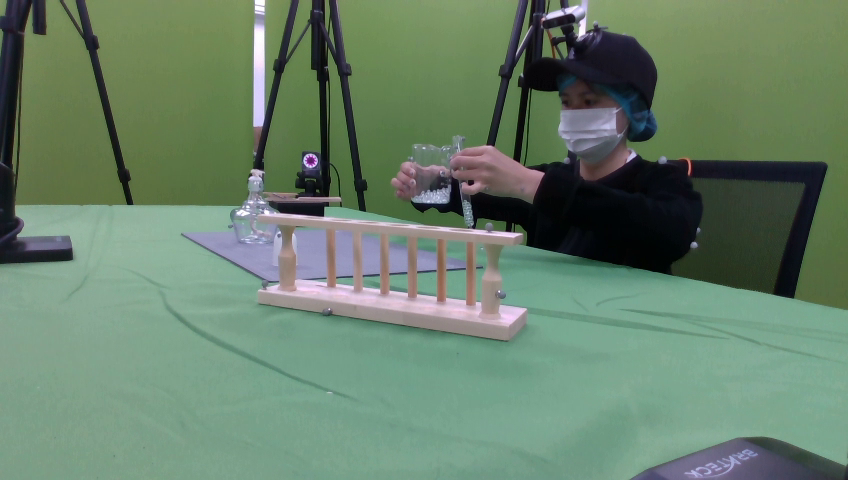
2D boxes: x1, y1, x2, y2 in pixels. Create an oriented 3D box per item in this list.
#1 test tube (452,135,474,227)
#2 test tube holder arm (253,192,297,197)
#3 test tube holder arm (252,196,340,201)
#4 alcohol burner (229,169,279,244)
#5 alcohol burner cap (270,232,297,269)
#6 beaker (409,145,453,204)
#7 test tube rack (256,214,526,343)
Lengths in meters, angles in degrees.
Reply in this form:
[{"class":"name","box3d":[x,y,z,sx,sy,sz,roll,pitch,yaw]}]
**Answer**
[{"class":"test tube","box3d":[0.063,-0.095,0.972,0.017,0.150,0.017,-8,-4,0]},{"class":"test tube holder arm","box3d":[-0.301,-0.092,1.223,0.088,0.010,0.015,0,7,-25]},{"class":"test tube holder arm","box3d":[-0.260,-0.086,1.242,0.179,0.013,0.015,-1,7,-25]},{"class":"alcohol burner","box3d":[-0.268,-0.053,0.958,0.078,0.119,0.078,2,6,0]},{"class":"alcohol burner cap","box3d":[-0.175,0.012,0.760,0.034,0.048,0.034,2,8,0]},{"class":"beaker","box3d":[0.013,-0.112,1.045,0.074,0.100,0.083,-1,6,-18]},{"class":"test tube rack","box3d":[-0.032,0.027,0.547,0.241,0.085,0.067,6,7,22]}]
